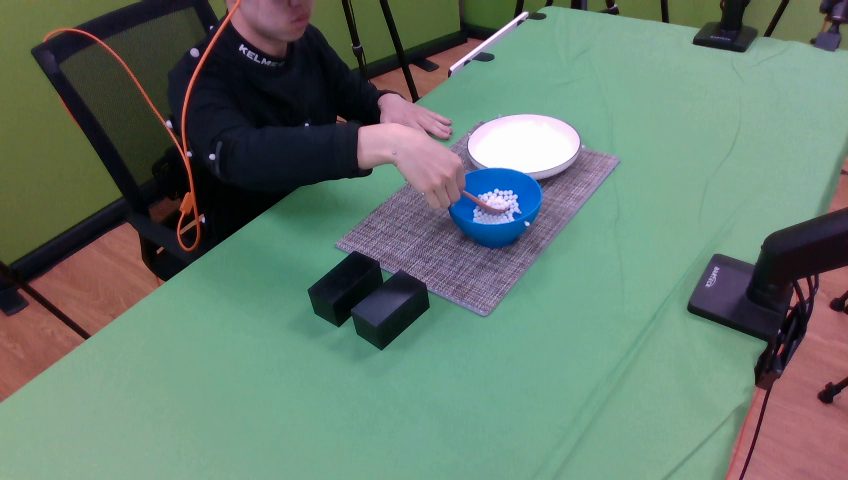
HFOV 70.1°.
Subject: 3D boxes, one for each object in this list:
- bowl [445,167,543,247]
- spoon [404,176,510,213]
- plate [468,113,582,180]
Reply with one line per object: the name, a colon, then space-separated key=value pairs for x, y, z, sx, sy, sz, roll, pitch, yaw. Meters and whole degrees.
bowl: x=0.111 y=-0.042 z=0.952 sx=0.151 sy=0.077 sz=0.150 roll=-4 pitch=41 yaw=4
spoon: x=0.053 y=-0.073 z=0.931 sx=0.195 sy=0.021 sz=0.041 roll=17 pitch=19 yaw=-31
plate: x=0.186 y=-0.169 z=1.122 sx=0.207 sy=0.039 sz=0.206 roll=-4 pitch=40 yaw=4
